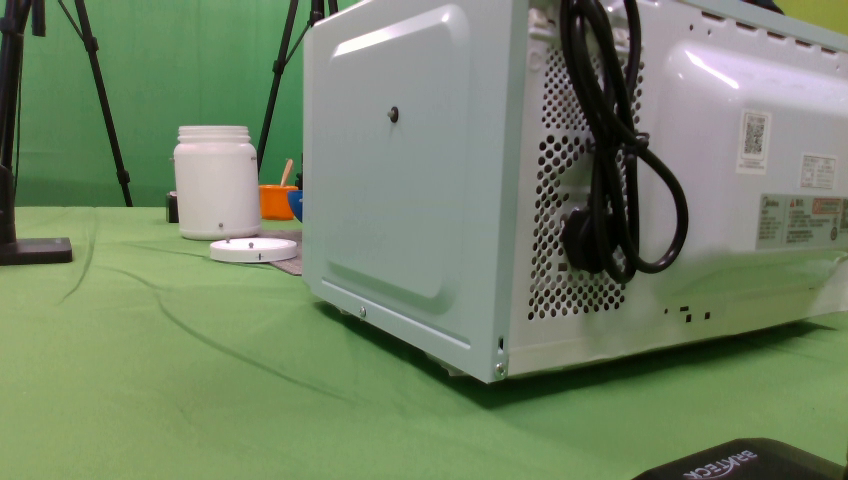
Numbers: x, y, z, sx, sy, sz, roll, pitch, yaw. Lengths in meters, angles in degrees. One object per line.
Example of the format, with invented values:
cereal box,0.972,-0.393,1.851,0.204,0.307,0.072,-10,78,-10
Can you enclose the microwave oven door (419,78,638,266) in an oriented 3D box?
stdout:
microwave oven door,0.132,-0.105,0.894,0.354,0.243,0.039,9,10,43

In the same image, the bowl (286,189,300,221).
bowl,-0.179,-0.051,1.115,0.151,0.077,0.151,3,8,0

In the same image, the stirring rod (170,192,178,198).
stirring rod,-0.465,-0.098,1.283,0.014,0.006,0.177,42,21,17

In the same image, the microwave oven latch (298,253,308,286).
microwave oven latch,-0.081,0.027,0.583,0.079,0.029,0.030,-1,7,-32

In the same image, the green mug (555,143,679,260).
green mug,0.181,-0.036,0.583,0.093,0.105,0.124,-2,5,-44

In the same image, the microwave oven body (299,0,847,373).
microwave oven body,0.152,-0.055,0.543,0.444,0.260,0.324,-2,7,-33

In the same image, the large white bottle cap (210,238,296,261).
large white bottle cap,-0.236,0.012,0.839,0.115,0.018,0.115,1,7,0

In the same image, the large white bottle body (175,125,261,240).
large white bottle body,-0.349,-0.100,1.025,0.131,0.184,0.130,-1,9,0

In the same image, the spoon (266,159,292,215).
spoon,-0.334,-0.127,1.423,0.041,0.193,0.022,0,-38,7
